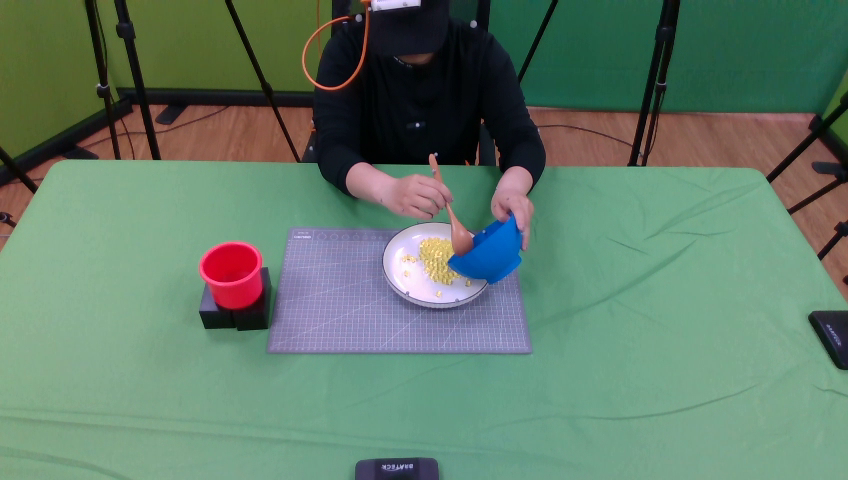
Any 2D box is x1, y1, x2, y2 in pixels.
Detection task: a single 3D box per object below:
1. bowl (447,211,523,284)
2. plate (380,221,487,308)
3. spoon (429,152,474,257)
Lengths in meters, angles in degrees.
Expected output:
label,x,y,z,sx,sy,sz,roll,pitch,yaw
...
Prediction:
label,x,y,z,sx,sy,sz,roll,pitch,yaw
bowl,0.122,0.025,1.071,0.151,0.151,0.077,-41,95,-34
plate,0.022,0.049,1.138,0.208,0.039,0.206,2,46,-2
spoon,0.043,-0.061,1.070,0.041,0.021,0.194,-22,93,-11
